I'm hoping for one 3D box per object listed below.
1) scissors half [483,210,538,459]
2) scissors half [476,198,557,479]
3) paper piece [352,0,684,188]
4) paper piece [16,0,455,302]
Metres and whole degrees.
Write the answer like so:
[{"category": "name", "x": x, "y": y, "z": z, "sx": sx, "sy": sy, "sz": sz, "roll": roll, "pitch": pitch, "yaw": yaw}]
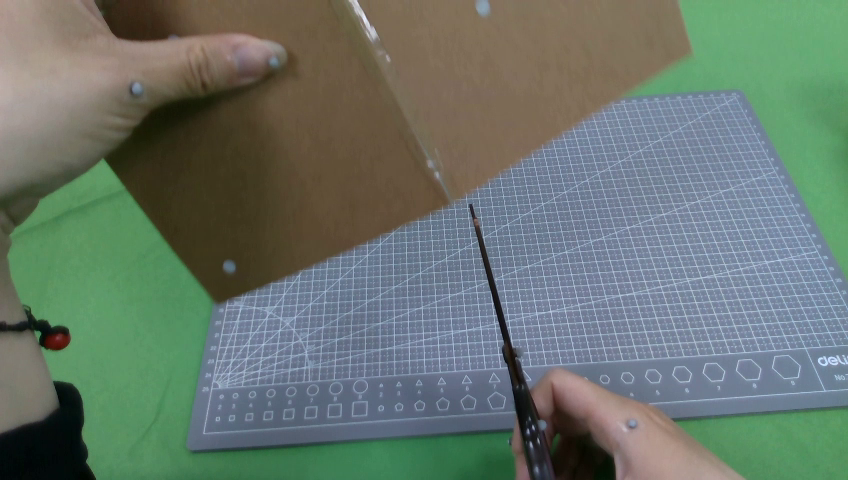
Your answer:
[{"category": "scissors half", "x": 0.046, "y": 0.058, "z": 0.304, "sx": 0.013, "sy": 0.177, "sz": 0.039, "roll": -12, "pitch": 36, "yaw": 5}, {"category": "scissors half", "x": 0.046, "y": 0.066, "z": 0.282, "sx": 0.013, "sy": 0.040, "sz": 0.175, "roll": -14, "pitch": 93, "yaw": 1}, {"category": "paper piece", "x": 0.039, "y": -0.106, "z": 0.247, "sx": 0.136, "sy": 0.136, "sz": 0.004, "roll": -28, "pitch": 29, "yaw": -5}, {"category": "paper piece", "x": -0.077, "y": -0.045, "z": 0.263, "sx": 0.138, "sy": 0.137, "sz": 0.008, "roll": -22, "pitch": 25, "yaw": 14}]
